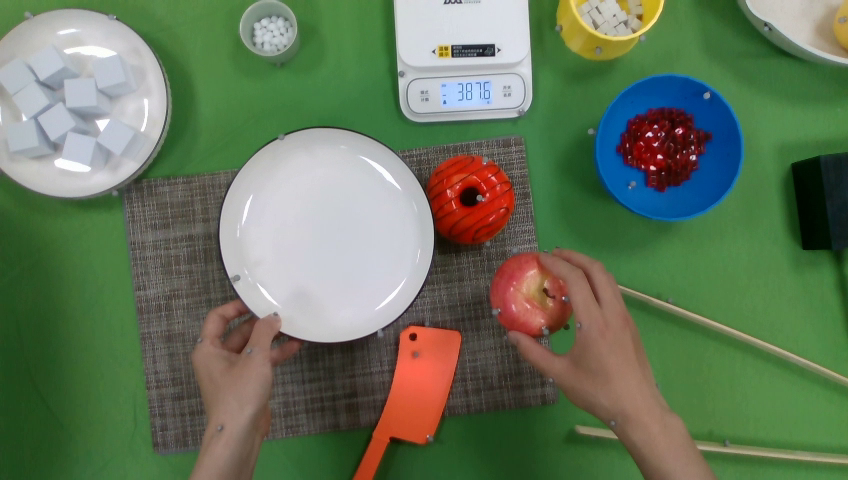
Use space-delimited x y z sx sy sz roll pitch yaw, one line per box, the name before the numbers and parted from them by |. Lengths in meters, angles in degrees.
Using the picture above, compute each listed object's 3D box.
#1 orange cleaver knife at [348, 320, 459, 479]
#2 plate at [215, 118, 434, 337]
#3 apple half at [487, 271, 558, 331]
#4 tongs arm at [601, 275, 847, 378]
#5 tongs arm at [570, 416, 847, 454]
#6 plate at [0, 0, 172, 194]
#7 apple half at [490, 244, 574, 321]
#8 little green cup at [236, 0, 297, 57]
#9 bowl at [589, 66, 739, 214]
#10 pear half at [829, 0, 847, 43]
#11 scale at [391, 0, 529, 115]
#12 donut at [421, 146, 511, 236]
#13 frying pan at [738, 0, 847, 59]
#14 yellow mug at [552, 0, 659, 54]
orange cleaver knife | -0.023 0.185 0.664 0.077 0.012 0.211 22 87 -7
plate | -0.094 -0.012 0.590 0.209 0.038 0.209 0 96 0
apple half | 0.084 0.064 0.569 0.081 0.081 0.033 38 82 0
tongs arm | 0.376 0.119 0.671 0.388 0.028 0.028 23 81 0
tongs arm | 0.356 0.203 0.666 0.385 0.026 0.050 8 85 -1
plate | -0.375 -0.152 0.658 0.208 0.039 0.207 0 89 -1
apple half | 0.107 0.034 0.574 0.081 0.075 0.053 38 82 1
little green cup | -0.169 -0.232 0.662 0.061 0.038 0.061 0 89 0
bowl | 0.243 -0.100 0.648 0.151 0.077 0.151 0 90 -1
pear half | 0.477 -0.241 0.633 0.076 0.110 0.056 30 89 4
scale | 0.039 -0.242 0.669 0.149 0.031 0.200 -3 90 0
donut | 0.044 -0.053 0.656 0.099 0.048 0.099 0 89 2
frying pan | 0.515 -0.247 0.641 0.307 0.103 0.486 -34 82 0
yellow mug | 0.185 -0.273 0.654 0.100 0.064 0.131 -40 89 -1
